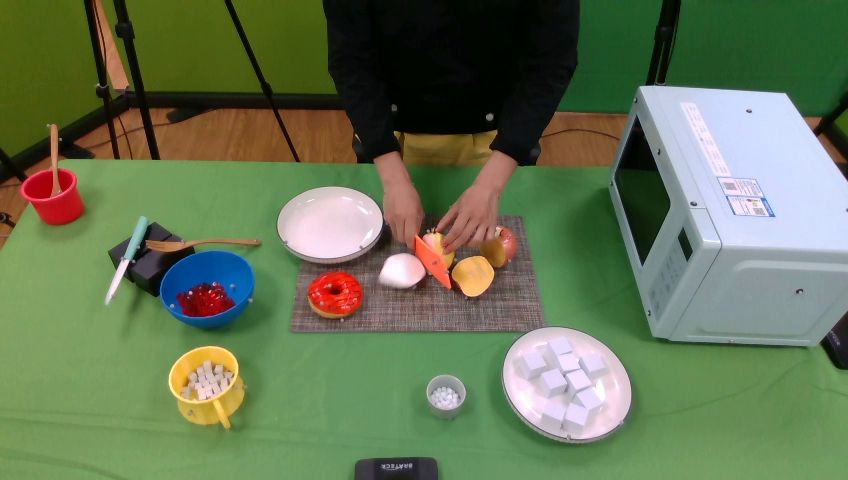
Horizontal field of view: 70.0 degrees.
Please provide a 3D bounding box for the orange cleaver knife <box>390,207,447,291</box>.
[{"bbox_3d":[-0.012,0.013,1.122,0.012,0.077,0.210,-15,41,-27],"label":"orange cleaver knife"}]

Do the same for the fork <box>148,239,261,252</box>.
[{"bbox_3d":[-0.399,0.007,1.118,0.208,0.019,0.028,-4,35,-37],"label":"fork"}]

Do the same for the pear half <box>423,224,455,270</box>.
[{"bbox_3d":[0.030,0.010,1.123,0.056,0.110,0.076,-16,50,-21],"label":"pear half"}]

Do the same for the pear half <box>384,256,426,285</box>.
[{"bbox_3d":[-0.039,0.061,1.120,0.088,0.031,0.070,-8,40,-37],"label":"pear half"}]

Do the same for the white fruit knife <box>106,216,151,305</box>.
[{"bbox_3d":[-0.519,0.032,1.066,0.027,0.016,0.206,-18,45,20],"label":"white fruit knife"}]

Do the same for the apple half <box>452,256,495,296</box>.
[{"bbox_3d":[0.095,0.070,1.120,0.081,0.033,0.081,-7,62,13],"label":"apple half"}]

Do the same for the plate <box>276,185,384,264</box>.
[{"bbox_3d":[-0.184,-0.027,1.195,0.209,0.038,0.208,2,46,-2],"label":"plate"}]

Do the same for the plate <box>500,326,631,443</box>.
[{"bbox_3d":[0.224,0.234,0.978,0.208,0.039,0.206,2,46,-2],"label":"plate"}]

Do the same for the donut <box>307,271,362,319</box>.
[{"bbox_3d":[-0.157,0.097,1.073,0.099,0.048,0.098,4,45,-4],"label":"donut"}]

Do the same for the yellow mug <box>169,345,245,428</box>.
[{"bbox_3d":[-0.322,0.230,0.922,0.100,0.064,0.130,-24,53,-26],"label":"yellow mug"}]

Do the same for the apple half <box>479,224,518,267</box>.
[{"bbox_3d":[0.148,0.008,1.160,0.053,0.075,0.080,-24,48,-29],"label":"apple half"}]

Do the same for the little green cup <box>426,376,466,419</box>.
[{"bbox_3d":[0.033,0.248,0.950,0.061,0.039,0.061,2,46,-2],"label":"little green cup"}]

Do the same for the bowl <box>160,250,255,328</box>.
[{"bbox_3d":[-0.362,0.097,1.040,0.151,0.077,0.150,2,45,-2],"label":"bowl"}]

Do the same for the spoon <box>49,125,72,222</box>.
[{"bbox_3d":[-0.717,-0.131,1.189,0.042,0.021,0.193,-3,90,-8],"label":"spoon"}]

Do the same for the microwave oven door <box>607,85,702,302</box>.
[{"bbox_3d":[0.423,-0.094,1.140,0.039,0.245,0.353,2,46,-1],"label":"microwave oven door"}]

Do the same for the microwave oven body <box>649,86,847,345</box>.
[{"bbox_3d":[0.568,-0.053,1.118,0.326,0.261,0.439,2,45,-1],"label":"microwave oven body"}]

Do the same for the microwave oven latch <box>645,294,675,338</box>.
[{"bbox_3d":[0.412,0.134,1.062,0.030,0.029,0.078,3,45,0],"label":"microwave oven latch"}]
